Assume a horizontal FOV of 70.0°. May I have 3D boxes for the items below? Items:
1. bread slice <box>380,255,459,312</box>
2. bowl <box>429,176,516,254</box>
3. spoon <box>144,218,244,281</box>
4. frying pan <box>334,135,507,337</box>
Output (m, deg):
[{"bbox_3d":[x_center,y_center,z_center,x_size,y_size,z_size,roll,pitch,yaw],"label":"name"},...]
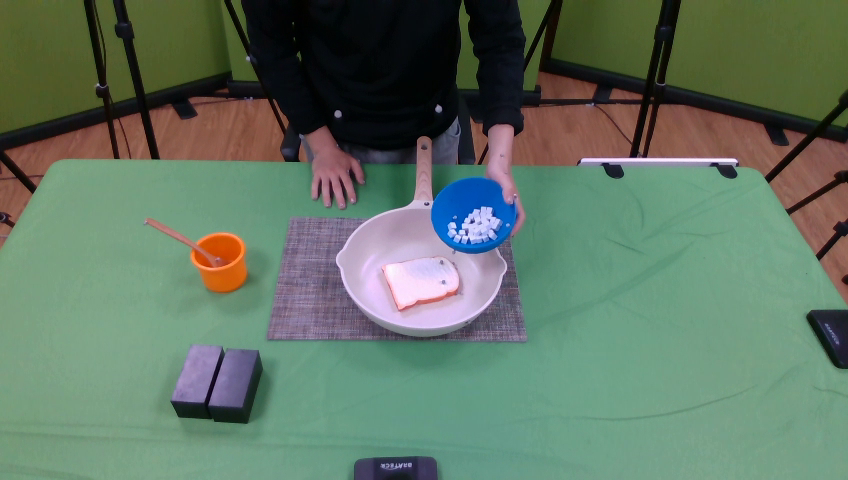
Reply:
[{"bbox_3d":[-0.005,0.074,1.119,0.134,0.018,0.106,-16,49,-16],"label":"bread slice"},{"bbox_3d":[0.088,-0.030,1.073,0.151,0.077,0.150,-4,58,7],"label":"bowl"},{"bbox_3d":[-0.401,0.016,1.064,0.195,0.021,0.041,41,36,-29],"label":"spoon"},{"bbox_3d":[-0.004,-0.026,1.160,0.307,0.103,0.485,4,55,-2],"label":"frying pan"}]
